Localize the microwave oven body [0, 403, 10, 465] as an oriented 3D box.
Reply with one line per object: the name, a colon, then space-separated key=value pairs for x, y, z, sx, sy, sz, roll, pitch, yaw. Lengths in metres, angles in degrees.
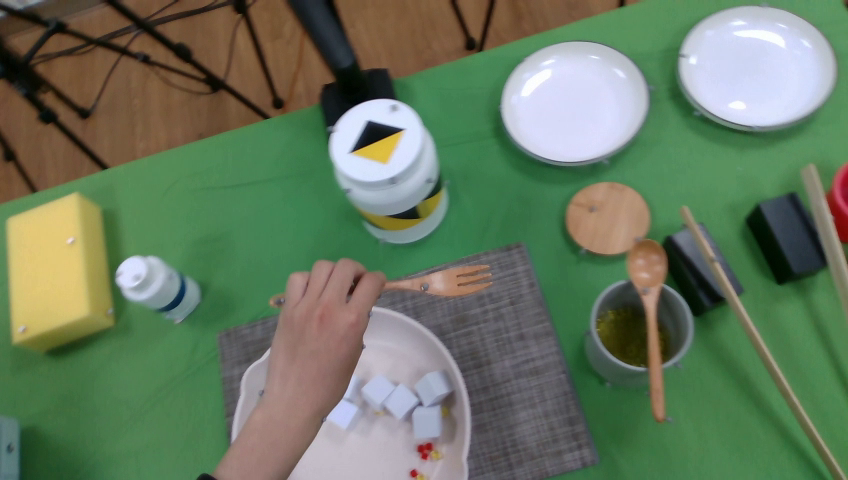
microwave oven body: x=-0.682 y=0.427 z=0.672 sx=0.326 sy=0.262 sz=0.438 roll=-16 pitch=68 yaw=3

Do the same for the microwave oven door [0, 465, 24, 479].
microwave oven door: x=-0.533 y=0.423 z=0.643 sx=0.039 sy=0.246 sz=0.353 roll=-16 pitch=67 yaw=3

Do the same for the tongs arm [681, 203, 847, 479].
tongs arm: x=0.409 y=0.121 z=0.692 sx=0.051 sy=0.026 sz=0.383 roll=-23 pitch=79 yaw=-3

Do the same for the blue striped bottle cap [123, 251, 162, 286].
blue striped bottle cap: x=-0.370 y=0.037 z=0.794 sx=0.044 sy=0.021 sz=0.044 roll=-3 pitch=70 yaw=9

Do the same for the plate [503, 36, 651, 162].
plate: x=0.221 y=-0.202 z=0.887 sx=0.207 sy=0.039 sz=0.206 roll=-3 pitch=69 yaw=9

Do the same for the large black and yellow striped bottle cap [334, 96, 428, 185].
large black and yellow striped bottle cap: x=-0.053 y=-0.122 z=0.732 sx=0.115 sy=0.019 sz=0.114 roll=-3 pitch=70 yaw=9

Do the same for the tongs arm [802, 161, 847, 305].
tongs arm: x=0.490 y=0.094 z=0.693 sx=0.028 sy=0.028 sz=0.385 roll=-8 pitch=79 yaw=-4

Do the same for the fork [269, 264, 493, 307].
fork: x=-0.039 y=0.044 z=0.561 sx=0.207 sy=0.019 sz=0.028 roll=-6 pitch=73 yaw=-5

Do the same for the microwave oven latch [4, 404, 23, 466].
microwave oven latch: x=-0.565 y=0.264 z=0.820 sx=0.030 sy=0.030 sz=0.078 roll=-13 pitch=68 yaw=4

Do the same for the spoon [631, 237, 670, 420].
spoon: x=0.246 y=0.091 z=0.645 sx=0.041 sy=0.022 sz=0.192 roll=0 pitch=73 yaw=6

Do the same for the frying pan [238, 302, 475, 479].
frying pan: x=-0.128 y=0.308 z=0.710 sx=0.305 sy=0.103 sz=0.486 roll=23 pitch=66 yaw=18

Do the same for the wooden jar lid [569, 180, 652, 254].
wooden jar lid: x=0.253 y=-0.031 z=0.825 sx=0.108 sy=0.021 sz=0.107 roll=-3 pitch=70 yaw=9

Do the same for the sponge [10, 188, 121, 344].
sponge: x=-0.540 y=0.038 z=0.911 sx=0.118 sy=0.061 sz=0.205 roll=-21 pitch=68 yaw=1

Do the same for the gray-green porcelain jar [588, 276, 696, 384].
gray-green porcelain jar: x=0.250 y=0.111 z=0.713 sx=0.106 sy=0.127 sz=0.105 roll=-3 pitch=68 yaw=9

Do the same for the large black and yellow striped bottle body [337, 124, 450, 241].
large black and yellow striped bottle body: x=-0.040 y=-0.090 z=0.809 sx=0.130 sy=0.185 sz=0.130 roll=-3 pitch=68 yaw=9

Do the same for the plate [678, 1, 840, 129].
plate: x=0.468 y=-0.244 z=0.860 sx=0.209 sy=0.038 sz=0.207 roll=-3 pitch=69 yaw=9

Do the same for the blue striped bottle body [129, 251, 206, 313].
blue striped bottle body: x=-0.361 y=0.056 z=0.841 sx=0.063 sy=0.122 sz=0.062 roll=-3 pitch=68 yaw=9
